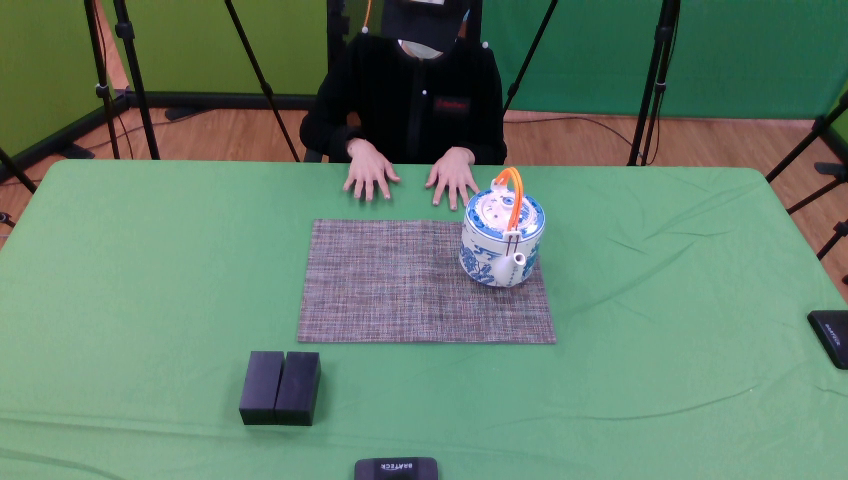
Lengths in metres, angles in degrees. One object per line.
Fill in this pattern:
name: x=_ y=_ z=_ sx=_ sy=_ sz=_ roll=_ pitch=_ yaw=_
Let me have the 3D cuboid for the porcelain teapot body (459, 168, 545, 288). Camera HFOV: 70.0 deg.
porcelain teapot body: x=0.146 y=-0.006 z=1.070 sx=0.145 sy=0.226 sz=0.204 roll=-4 pitch=46 yaw=-8

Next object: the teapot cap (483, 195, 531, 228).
teapot cap: x=0.146 y=-0.053 z=1.061 sx=0.085 sy=0.044 sz=0.084 roll=3 pitch=45 yaw=-3
